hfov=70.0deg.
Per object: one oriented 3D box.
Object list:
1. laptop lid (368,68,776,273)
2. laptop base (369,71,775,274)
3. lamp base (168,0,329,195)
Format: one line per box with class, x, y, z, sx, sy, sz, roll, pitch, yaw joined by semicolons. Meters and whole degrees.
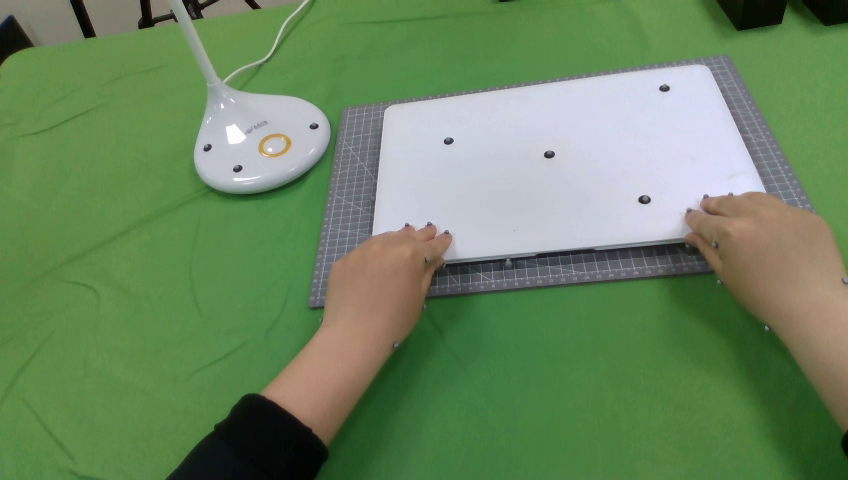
laptop lid;0.123;-0.077;0.595;0.356;0.013;0.239;-4;51;9
laptop base;0.126;-0.071;0.605;0.354;0.023;0.233;-6;52;8
lamp base;-0.211;-0.165;0.656;0.177;0.182;0.160;27;59;34
